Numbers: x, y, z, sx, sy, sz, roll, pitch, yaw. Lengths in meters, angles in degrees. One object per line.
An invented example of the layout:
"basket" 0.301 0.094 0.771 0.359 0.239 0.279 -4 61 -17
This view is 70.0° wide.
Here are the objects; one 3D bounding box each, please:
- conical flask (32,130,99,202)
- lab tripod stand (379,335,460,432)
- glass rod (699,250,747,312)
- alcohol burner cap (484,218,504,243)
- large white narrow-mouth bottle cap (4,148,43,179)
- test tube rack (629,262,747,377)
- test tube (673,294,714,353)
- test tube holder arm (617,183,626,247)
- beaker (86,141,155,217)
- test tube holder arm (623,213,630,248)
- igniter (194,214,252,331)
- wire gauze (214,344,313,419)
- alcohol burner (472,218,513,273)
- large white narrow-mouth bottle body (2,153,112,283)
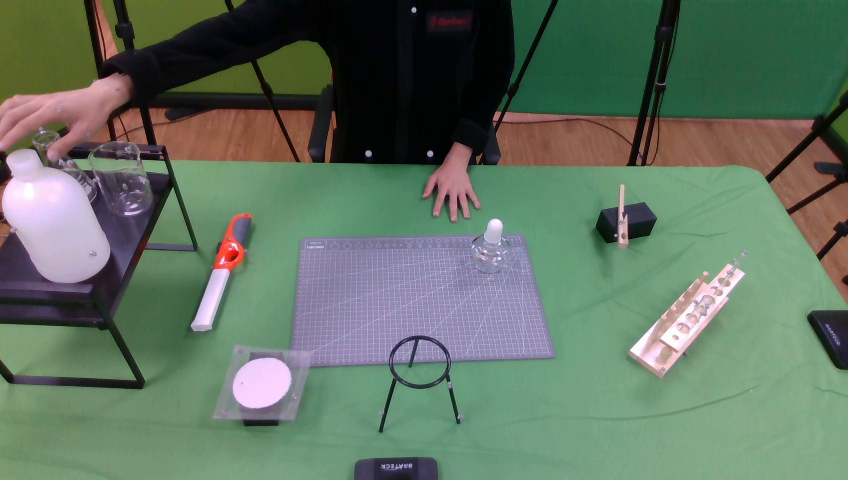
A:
"conical flask" -0.565 -0.111 0.944 0.075 0.122 0.075 2 46 -2
"lab tripod stand" -0.011 0.214 0.911 0.148 0.132 0.147 1 45 0
"glass rod" 0.500 0.074 1.021 0.008 0.201 0.008 0 55 1
"alcohol burner cap" 0.130 -0.021 1.106 0.034 0.048 0.033 3 51 -4
"large white narrow-mouth bottle cap" -0.505 -0.097 0.764 0.038 0.024 0.037 2 46 -1
"test tube rack" 0.464 0.126 1.060 0.242 0.085 0.066 -34 56 -31
"test tube" 0.428 0.137 0.978 0.017 0.151 0.017 4 47 -4
"test tube holder arm" 0.395 -0.053 1.211 0.013 0.015 0.177 15 47 -1
"beaker" -0.467 -0.092 0.950 0.084 0.101 0.073 15 47 11
"test tube holder arm" 0.392 -0.020 1.180 0.010 0.015 0.087 15 47 -1
"igniter" -0.367 0.050 1.119 0.057 0.025 0.275 -4 46 7
"wire gauze" -0.241 0.213 0.916 0.121 0.011 0.124 5 46 1
"alcohol burner" 0.128 0.005 1.132 0.078 0.120 0.077 0 47 0
"large white narrow-mouth bottle body" -0.507 -0.036 0.825 0.102 0.195 0.101 1 46 -1
